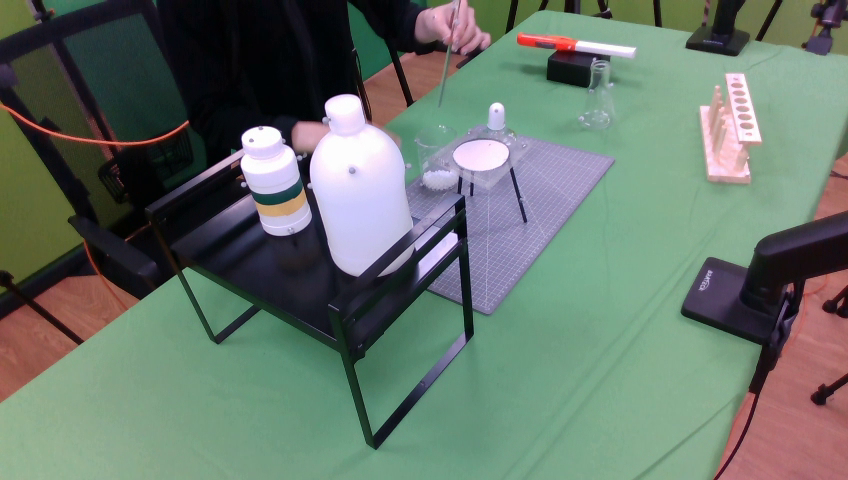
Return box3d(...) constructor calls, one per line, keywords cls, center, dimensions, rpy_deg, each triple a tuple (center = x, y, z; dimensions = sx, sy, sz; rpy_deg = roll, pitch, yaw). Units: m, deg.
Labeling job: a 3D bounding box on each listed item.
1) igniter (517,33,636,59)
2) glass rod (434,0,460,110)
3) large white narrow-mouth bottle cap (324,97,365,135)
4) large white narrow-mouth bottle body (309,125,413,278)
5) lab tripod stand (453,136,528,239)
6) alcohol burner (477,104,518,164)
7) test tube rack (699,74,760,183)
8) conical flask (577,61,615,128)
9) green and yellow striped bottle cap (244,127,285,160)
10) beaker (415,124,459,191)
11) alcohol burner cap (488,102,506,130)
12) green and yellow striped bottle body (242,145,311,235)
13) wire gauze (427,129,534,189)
box3d(cls="igniter", center=(0.336, -0.441, 1.369), dimensions=(0.275, 0.025, 0.057), rpy_deg=(16, 41, 23))
box3d(cls="glass rod", center=(0.035, -0.292, 0.955), dimensions=(0.008, 0.200, 0.008), rpy_deg=(7, 42, -6))
box3d(cls="large white narrow-mouth bottle cap", center=(-0.076, -0.120, 0.585), dimensions=(0.038, 0.024, 0.037), rpy_deg=(-3, 42, 3))
box3d(cls="large white narrow-mouth bottle body", center=(-0.068, -0.057, 0.644), dimensions=(0.102, 0.195, 0.101), rpy_deg=(-3, 42, 4))
box3d(cls="lab tripod stand", center=(0.094, -0.086, 0.974), dimensions=(0.148, 0.132, 0.147), rpy_deg=(-4, 43, 4))
box3d(cls="alcohol burner", center=(0.135, -0.200, 1.117), dimensions=(0.078, 0.119, 0.077), rpy_deg=(-4, 43, 4))
box3d(cls="test tube rack", center=(0.547, -0.208, 1.095), dimensions=(0.066, 0.085, 0.242), rpy_deg=(6, 42, 16))
box3d(cls="conical flask", center=(0.343, -0.288, 1.187), dimensions=(0.075, 0.122, 0.075), rpy_deg=(-4, 41, 4))
box3d(cls="green and yellow striped bottle cap", center=(-0.183, -0.111, 0.694), dimensions=(0.045, 0.020, 0.045), rpy_deg=(-1, 42, 2))
box3d(cls="beaker", center=(0.027, -0.147, 1.081), dimensions=(0.073, 0.100, 0.084), rpy_deg=(12, 43, 21))
box3d(cls="alcohol burner cap", center=(0.133, -0.227, 1.092), dimensions=(0.034, 0.048, 0.033), rpy_deg=(-1, 47, 2))
box3d(cls="green and yellow striped bottle body", center=(-0.179, -0.069, 0.730), dimensions=(0.063, 0.120, 0.063), rpy_deg=(-4, 41, 4))
box3d(cls="wire gauze", center=(0.086, -0.131, 0.924), dimensions=(0.124, 0.011, 0.122), rpy_deg=(26, 52, 33))
